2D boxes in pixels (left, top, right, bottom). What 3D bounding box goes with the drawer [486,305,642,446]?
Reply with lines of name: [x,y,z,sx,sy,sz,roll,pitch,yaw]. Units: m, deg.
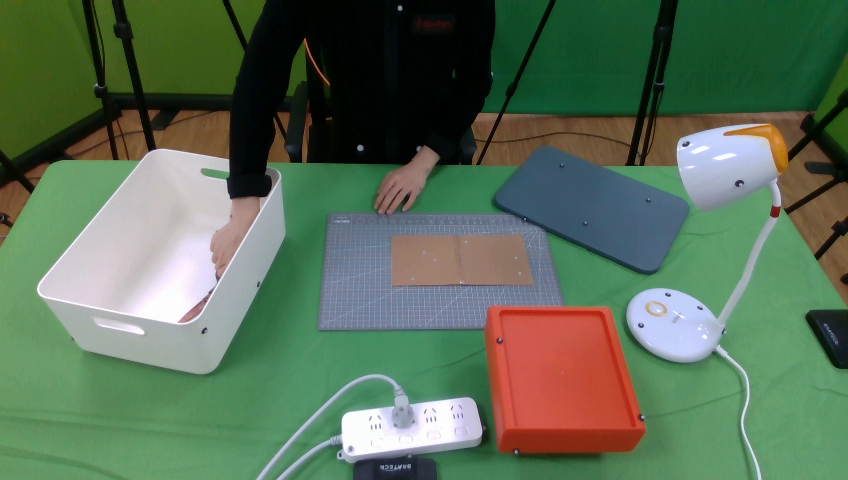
drawer: [0.202,0.200,0.919,0.195,0.073,0.210,2,47,-4]

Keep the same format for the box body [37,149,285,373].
box body: [-0.414,0.029,1.040,0.254,0.161,0.362,10,46,5]

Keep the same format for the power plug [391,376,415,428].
power plug: [-0.031,0.249,0.917,0.035,0.053,0.072,3,46,0]

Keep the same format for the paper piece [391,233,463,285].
paper piece: [0.003,0.035,1.170,0.135,0.004,0.135,0,46,-4]

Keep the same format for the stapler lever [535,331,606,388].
stapler lever: [0.225,0.181,0.928,0.118,0.040,0.027,27,34,15]

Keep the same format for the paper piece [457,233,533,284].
paper piece: [0.136,0.035,1.182,0.136,0.009,0.137,2,45,-6]

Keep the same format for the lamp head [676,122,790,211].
lamp head: [0.423,-0.104,0.819,0.122,0.113,0.112,-13,33,40]

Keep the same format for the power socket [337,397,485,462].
power socket: [-0.018,0.285,0.915,0.227,0.033,0.071,-4,46,-8]

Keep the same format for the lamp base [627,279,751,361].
lamp base: [0.460,0.100,1.027,0.178,0.181,0.160,27,51,17]

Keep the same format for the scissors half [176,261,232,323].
scissors half: [-0.382,0.094,1.075,0.040,0.013,0.174,29,52,10]

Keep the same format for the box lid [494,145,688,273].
box lid: [0.360,-0.081,1.311,0.370,0.015,0.263,27,49,20]

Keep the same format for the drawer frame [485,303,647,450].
drawer frame: [0.204,0.202,0.917,0.202,0.083,0.212,1,47,-4]

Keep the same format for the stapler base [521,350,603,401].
stapler base: [0.217,0.203,0.942,0.130,0.024,0.041,26,33,16]

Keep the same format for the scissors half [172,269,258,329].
scissors half: [-0.367,0.106,1.071,0.175,0.013,0.040,-35,72,-33]
